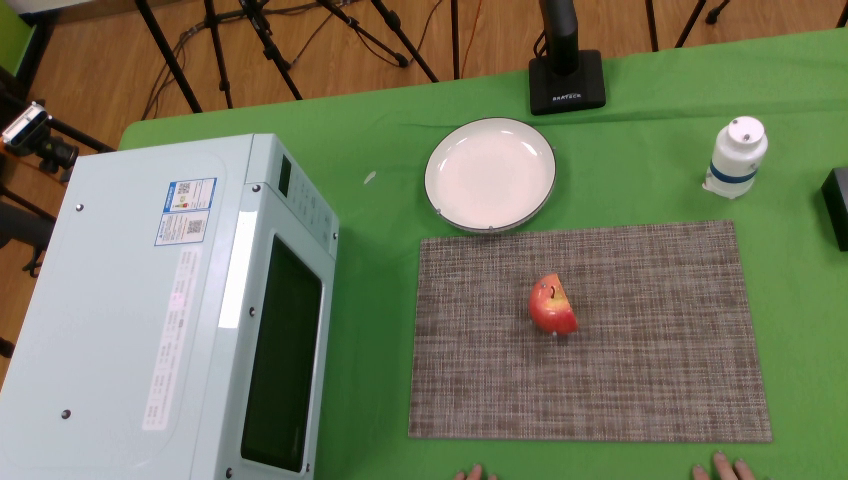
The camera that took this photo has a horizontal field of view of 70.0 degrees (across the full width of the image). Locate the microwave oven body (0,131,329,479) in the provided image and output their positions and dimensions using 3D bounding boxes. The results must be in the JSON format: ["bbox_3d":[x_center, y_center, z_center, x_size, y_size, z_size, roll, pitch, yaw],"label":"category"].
[{"bbox_3d":[-0.328,0.118,0.824,0.325,0.262,0.438,-5,64,12],"label":"microwave oven body"}]

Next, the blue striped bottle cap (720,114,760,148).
[{"bbox_3d":[0.408,-0.141,0.782,0.044,0.021,0.044,-5,66,13],"label":"blue striped bottle cap"}]

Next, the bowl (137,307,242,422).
[{"bbox_3d":[-0.306,0.174,0.835,0.151,0.077,0.150,-6,72,18],"label":"bowl"}]

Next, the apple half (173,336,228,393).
[{"bbox_3d":[-0.309,0.170,0.825,0.081,0.033,0.081,-2,78,9],"label":"apple half"}]

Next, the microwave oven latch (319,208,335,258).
[{"bbox_3d":[-0.157,-0.011,0.954,0.030,0.030,0.078,-5,64,12],"label":"microwave oven latch"}]

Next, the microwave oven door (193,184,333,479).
[{"bbox_3d":[-0.188,0.140,0.770,0.039,0.246,0.353,-5,63,13],"label":"microwave oven door"}]

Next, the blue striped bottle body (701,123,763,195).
[{"bbox_3d":[0.420,-0.117,0.826,0.063,0.122,0.062,-6,63,12],"label":"blue striped bottle body"}]

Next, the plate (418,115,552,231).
[{"bbox_3d":[0.096,-0.102,0.953,0.207,0.039,0.206,-6,63,12],"label":"plate"}]

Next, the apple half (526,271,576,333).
[{"bbox_3d":[0.166,0.089,0.815,0.053,0.075,0.080,-23,64,7],"label":"apple half"}]
